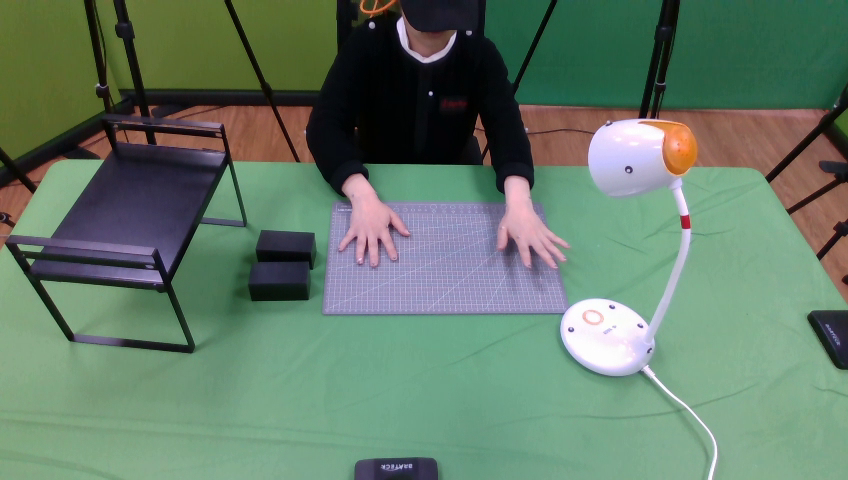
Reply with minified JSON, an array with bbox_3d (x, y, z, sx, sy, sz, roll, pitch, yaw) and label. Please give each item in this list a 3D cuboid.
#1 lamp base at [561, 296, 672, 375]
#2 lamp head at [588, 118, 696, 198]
[{"bbox_3d":[0.332,0.119,0.996,0.160,0.181,0.178,-34,59,-30],"label":"lamp base"},{"bbox_3d":[0.304,-0.113,0.823,0.112,0.112,0.122,-26,16,-25],"label":"lamp head"}]
